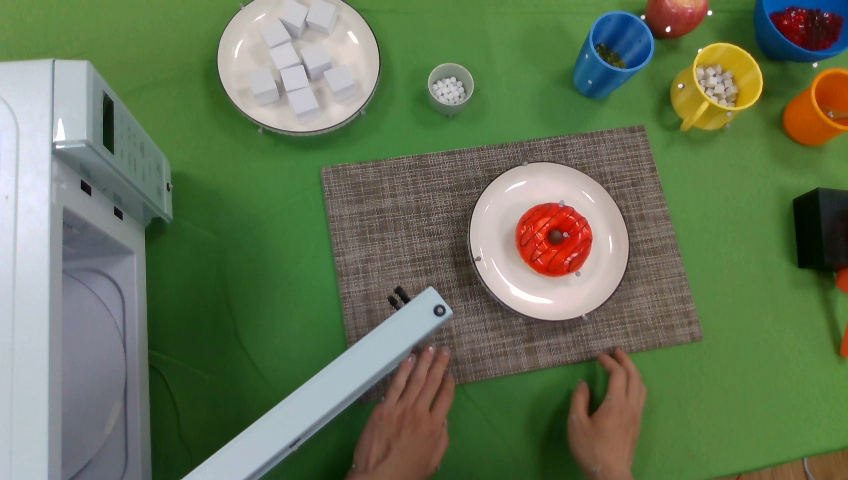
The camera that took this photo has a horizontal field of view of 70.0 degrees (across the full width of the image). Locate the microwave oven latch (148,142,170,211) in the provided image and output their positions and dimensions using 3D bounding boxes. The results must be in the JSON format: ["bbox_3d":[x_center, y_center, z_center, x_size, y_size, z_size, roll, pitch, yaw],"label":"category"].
[{"bbox_3d":[-0.320,-0.076,0.722,0.030,0.029,0.079,-4,78,-7],"label":"microwave oven latch"}]

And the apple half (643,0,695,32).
[{"bbox_3d":[0.338,-0.336,0.853,0.053,0.075,0.080,-4,80,-3],"label":"apple half"}]

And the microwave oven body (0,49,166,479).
[{"bbox_3d":[-0.434,0.087,0.573,0.326,0.261,0.439,-6,78,-8],"label":"microwave oven body"}]

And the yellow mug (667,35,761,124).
[{"bbox_3d":[0.390,-0.210,0.832,0.100,0.064,0.130,38,77,3],"label":"yellow mug"}]

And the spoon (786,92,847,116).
[{"bbox_3d":[0.584,-0.173,0.802,0.041,0.192,0.022,-52,130,-14],"label":"spoon"}]

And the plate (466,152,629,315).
[{"bbox_3d":[0.154,-0.007,0.771,0.209,0.038,0.208,1,77,-5],"label":"plate"}]

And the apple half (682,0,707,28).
[{"bbox_3d":[0.377,-0.339,0.856,0.033,0.081,0.081,-3,77,-4],"label":"apple half"}]

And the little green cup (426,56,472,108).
[{"bbox_3d":[0.032,-0.209,0.809,0.061,0.039,0.061,1,76,-5],"label":"little green cup"}]

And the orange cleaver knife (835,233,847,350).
[{"bbox_3d":[0.563,0.037,0.785,0.012,0.077,0.212,6,106,-2],"label":"orange cleaver knife"}]

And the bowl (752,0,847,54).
[{"bbox_3d":[0.531,-0.324,0.868,0.151,0.077,0.150,1,78,-5],"label":"bowl"}]

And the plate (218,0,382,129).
[{"bbox_3d":[-0.160,-0.238,0.796,0.208,0.039,0.206,1,77,-6],"label":"plate"}]

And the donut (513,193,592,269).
[{"bbox_3d":[0.161,-0.011,0.761,0.099,0.048,0.098,1,77,-3],"label":"donut"}]

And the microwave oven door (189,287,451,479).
[{"bbox_3d":[-0.132,0.176,0.579,0.355,0.244,0.039,-38,82,-13],"label":"microwave oven door"}]

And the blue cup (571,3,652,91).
[{"bbox_3d":[0.241,-0.248,0.808,0.093,0.100,0.092,1,78,-6],"label":"blue cup"}]
